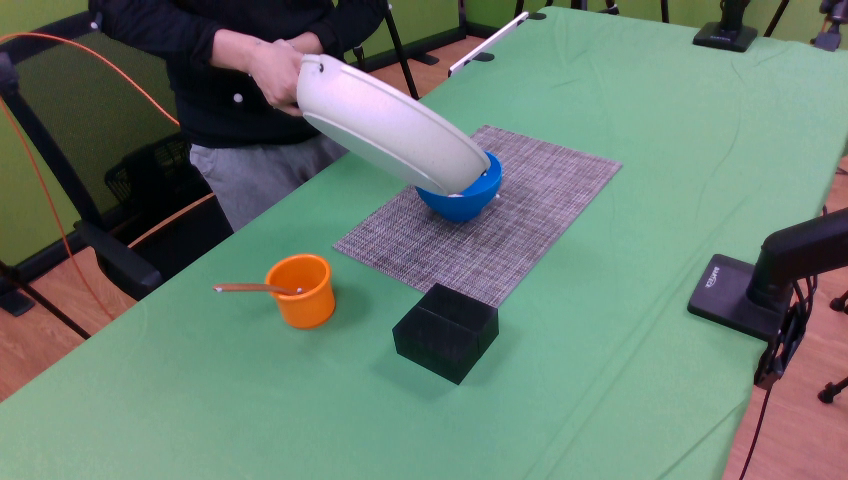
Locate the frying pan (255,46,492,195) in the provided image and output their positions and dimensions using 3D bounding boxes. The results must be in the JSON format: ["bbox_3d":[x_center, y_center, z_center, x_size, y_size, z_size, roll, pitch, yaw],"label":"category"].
[{"bbox_3d":[-0.116,-0.199,0.892,0.483,0.309,0.102,38,93,35],"label":"frying pan"}]

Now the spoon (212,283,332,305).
[{"bbox_3d":[-0.201,0.069,0.819,0.041,0.195,0.021,32,99,37],"label":"spoon"}]

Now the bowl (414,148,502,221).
[{"bbox_3d":[0.057,-0.086,1.010,0.151,0.077,0.150,-4,41,4],"label":"bowl"}]
